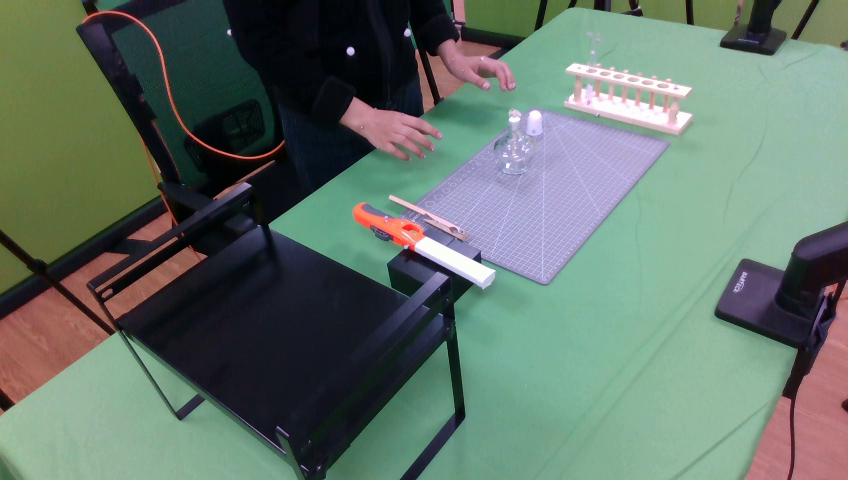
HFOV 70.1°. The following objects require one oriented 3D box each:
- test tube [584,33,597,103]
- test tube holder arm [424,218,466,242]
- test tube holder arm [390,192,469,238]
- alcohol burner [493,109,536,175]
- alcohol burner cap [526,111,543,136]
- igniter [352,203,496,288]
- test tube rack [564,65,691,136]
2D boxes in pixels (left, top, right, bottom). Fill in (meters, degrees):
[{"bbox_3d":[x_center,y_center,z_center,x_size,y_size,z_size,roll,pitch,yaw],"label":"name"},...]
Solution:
[{"bbox_3d":[0.330,-0.338,1.199,0.017,0.151,0.017,-5,45,5],"label":"test tube"},{"bbox_3d":[0.033,-0.020,0.992,0.087,0.015,0.010,32,84,36],"label":"test tube holder arm"},{"bbox_3d":[0.006,-0.044,1.019,0.177,0.015,0.013,32,84,36],"label":"test tube holder arm"},{"bbox_3d":[0.163,-0.179,1.087,0.078,0.119,0.077,-5,38,4],"label":"alcohol burner"},{"bbox_3d":[0.219,-0.232,1.196,0.034,0.048,0.033,-4,41,4],"label":"alcohol burner cap"},{"bbox_3d":[-0.011,0.002,0.899,0.274,0.025,0.057,27,45,33],"label":"igniter"},{"bbox_3d":[0.404,-0.288,1.204,0.240,0.085,0.067,24,49,32],"label":"test tube rack"}]
